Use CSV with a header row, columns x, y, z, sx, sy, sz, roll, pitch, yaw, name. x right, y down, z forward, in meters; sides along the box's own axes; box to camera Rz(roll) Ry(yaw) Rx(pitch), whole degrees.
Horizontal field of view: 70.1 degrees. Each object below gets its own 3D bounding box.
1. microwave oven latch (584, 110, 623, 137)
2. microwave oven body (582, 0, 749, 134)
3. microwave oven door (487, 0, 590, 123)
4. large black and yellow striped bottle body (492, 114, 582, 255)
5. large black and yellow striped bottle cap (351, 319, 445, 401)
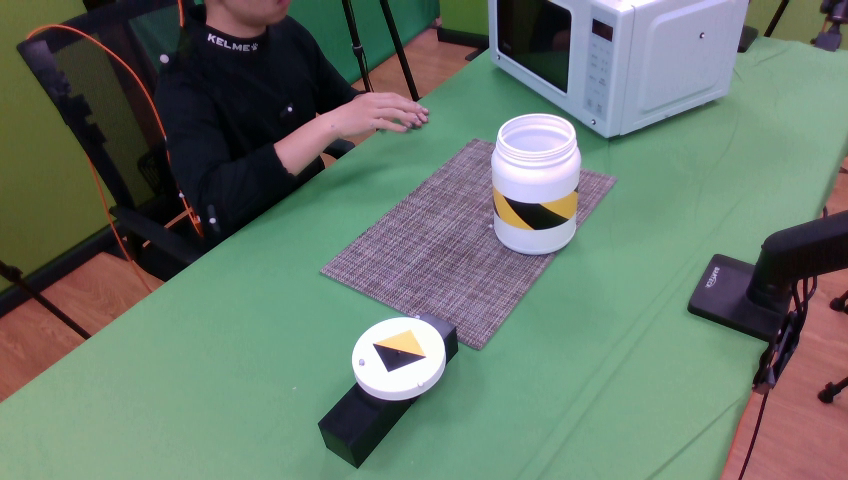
x,y,z,sx,sy,sz,roll,pitch,yaw,name
0.337,-0.222,1.142,0.030,0.029,0.078,-21,42,-14,microwave oven latch
0.382,-0.444,1.246,0.327,0.261,0.437,-22,42,-16,microwave oven body
0.232,-0.420,1.231,0.039,0.245,0.352,-22,43,-16,microwave oven door
0.169,-0.083,0.912,0.131,0.185,0.130,-4,41,4,large black and yellow striped bottle body
-0.031,0.143,0.735,0.115,0.019,0.114,-3,40,3,large black and yellow striped bottle cap
